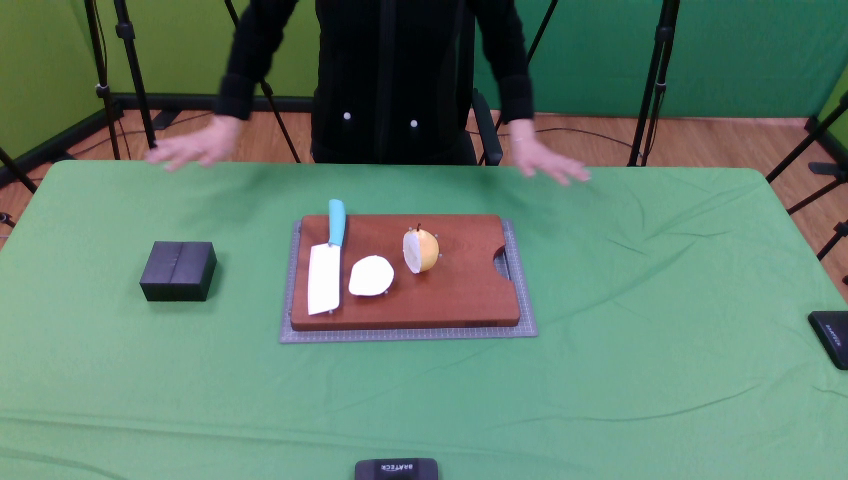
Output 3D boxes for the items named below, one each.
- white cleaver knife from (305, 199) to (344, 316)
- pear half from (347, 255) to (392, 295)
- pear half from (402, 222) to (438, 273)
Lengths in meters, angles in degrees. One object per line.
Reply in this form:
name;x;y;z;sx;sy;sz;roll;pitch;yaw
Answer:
white cleaver knife;-0.185;0.022;1.123;0.066;0.021;0.284;-7;45;3
pear half;-0.099;0.069;1.076;0.088;0.031;0.070;-39;75;-18
pear half;-0.003;0.004;1.093;0.056;0.110;0.076;-24;56;-25
